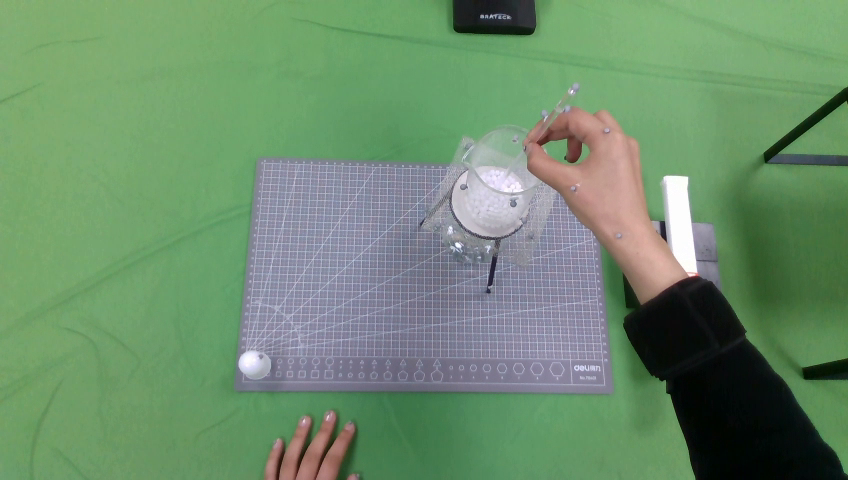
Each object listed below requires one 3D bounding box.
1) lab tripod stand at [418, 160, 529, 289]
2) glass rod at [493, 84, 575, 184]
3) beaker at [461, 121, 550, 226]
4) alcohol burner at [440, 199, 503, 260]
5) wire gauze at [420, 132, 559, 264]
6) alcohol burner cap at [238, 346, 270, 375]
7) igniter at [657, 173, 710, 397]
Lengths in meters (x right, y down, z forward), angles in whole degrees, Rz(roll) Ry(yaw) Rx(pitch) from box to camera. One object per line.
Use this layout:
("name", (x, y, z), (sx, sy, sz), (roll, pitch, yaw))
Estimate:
("lab tripod stand", (0.068, -0.030, 0.719), (0.148, 0.132, 0.147), (1, 70, -4))
("glass rod", (0.093, -0.088, 0.545), (0.008, 0.200, 0.008), (3, 74, -10))
("beaker", (0.074, -0.062, 0.610), (0.084, 0.101, 0.073), (1, 70, -3))
("alcohol burner", (0.059, -0.018, 0.725), (0.078, 0.119, 0.077), (1, 74, -3))
("wire gauze", (0.074, -0.047, 0.656), (0.121, 0.011, 0.124), (24, 69, 1))
("alcohol burner cap", (-0.197, 0.136, 0.694), (0.034, 0.048, 0.033), (2, 72, -5))
("igniter", (0.306, 0.047, 0.723), (0.057, 0.025, 0.274), (3, 71, 0))
